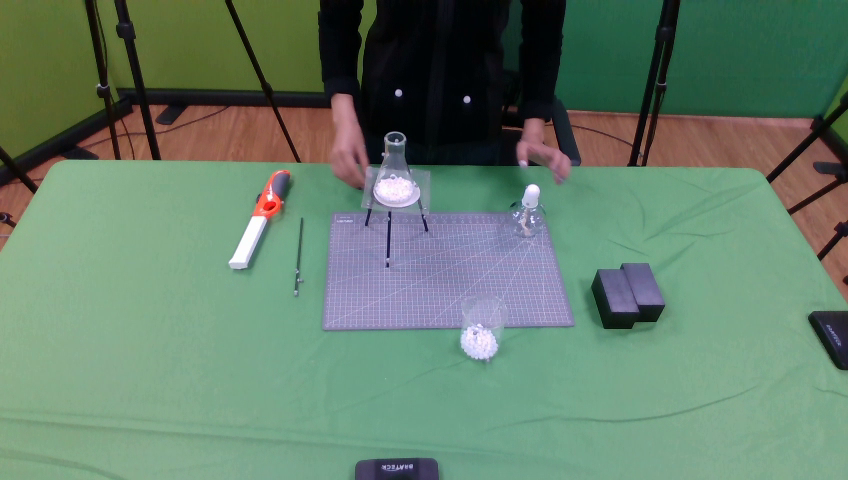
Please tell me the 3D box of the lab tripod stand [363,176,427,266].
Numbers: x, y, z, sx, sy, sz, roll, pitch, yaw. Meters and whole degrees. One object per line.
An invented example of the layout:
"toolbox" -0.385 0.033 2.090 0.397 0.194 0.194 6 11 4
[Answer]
"lab tripod stand" -0.058 -0.047 1.159 0.148 0.132 0.147 3 44 -2

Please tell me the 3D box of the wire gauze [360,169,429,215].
"wire gauze" -0.052 -0.092 1.111 0.125 0.011 0.120 3 43 1

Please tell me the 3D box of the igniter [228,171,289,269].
"igniter" -0.328 -0.049 1.218 0.057 0.025 0.275 1 45 11

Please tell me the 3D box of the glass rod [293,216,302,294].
"glass rod" -0.242 0.024 1.166 0.008 0.008 0.198 -2 47 -5

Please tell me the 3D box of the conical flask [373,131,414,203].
"conical flask" -0.053 -0.131 1.067 0.075 0.122 0.075 2 44 -2

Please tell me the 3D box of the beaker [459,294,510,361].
"beaker" 0.095 0.147 1.012 0.083 0.101 0.074 26 49 21

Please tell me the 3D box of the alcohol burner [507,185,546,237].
"alcohol burner" 0.208 -0.063 1.210 0.078 0.119 0.077 3 44 -3

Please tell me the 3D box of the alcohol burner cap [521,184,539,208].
"alcohol burner cap" 0.210 -0.087 1.183 0.034 0.048 0.033 0 53 0
